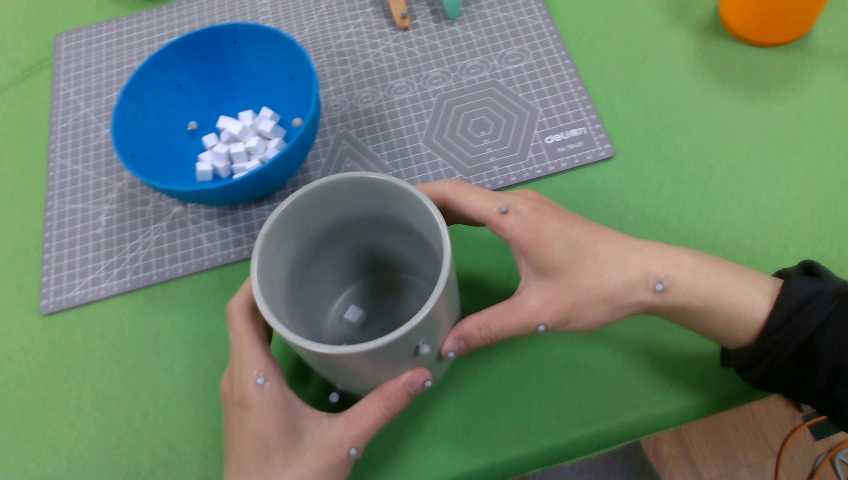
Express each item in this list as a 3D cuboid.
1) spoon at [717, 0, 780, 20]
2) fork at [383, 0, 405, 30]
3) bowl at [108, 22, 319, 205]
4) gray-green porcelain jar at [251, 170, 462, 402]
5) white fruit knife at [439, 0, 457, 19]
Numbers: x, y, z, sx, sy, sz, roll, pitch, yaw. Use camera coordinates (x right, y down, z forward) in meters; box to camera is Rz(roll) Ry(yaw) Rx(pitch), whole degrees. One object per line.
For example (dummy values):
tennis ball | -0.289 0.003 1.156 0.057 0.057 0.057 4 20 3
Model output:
spoon | 0.311 -0.227 0.442 0.022 0.193 0.041 10 60 -39
fork | -0.053 -0.285 0.549 0.028 0.018 0.206 -18 81 -7
bowl | -0.146 -0.081 0.460 0.151 0.077 0.150 -3 63 6
gray-green porcelain jar | -0.031 0.036 0.364 0.106 0.127 0.105 -3 62 5
white fruit knife | -0.005 -0.297 0.551 0.016 0.027 0.206 -16 77 -2
